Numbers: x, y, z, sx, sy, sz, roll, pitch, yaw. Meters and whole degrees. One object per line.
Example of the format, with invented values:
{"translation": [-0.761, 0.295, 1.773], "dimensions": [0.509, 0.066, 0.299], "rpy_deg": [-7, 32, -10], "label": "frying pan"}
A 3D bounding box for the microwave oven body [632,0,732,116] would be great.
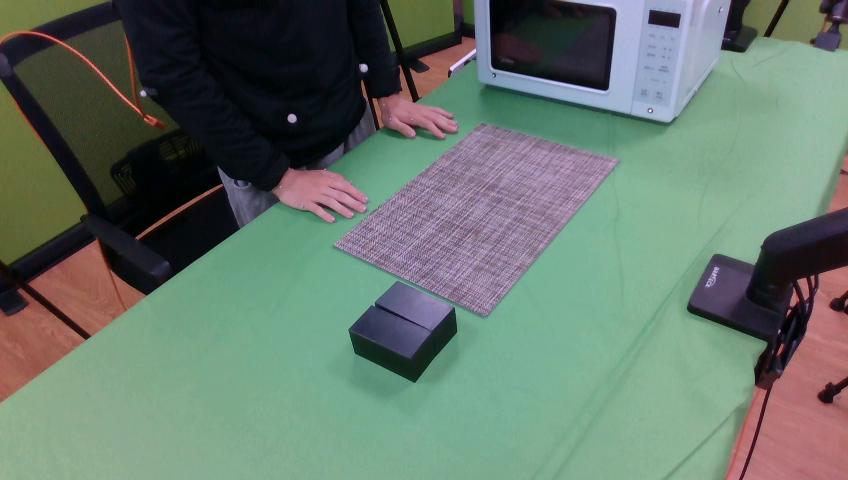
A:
{"translation": [0.377, -0.462, 1.267], "dimensions": [0.438, 0.261, 0.327], "rpy_deg": [21, 48, 30], "label": "microwave oven body"}

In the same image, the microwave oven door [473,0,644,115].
{"translation": [0.257, -0.396, 1.199], "dimensions": [0.353, 0.245, 0.039], "rpy_deg": [21, 48, 29], "label": "microwave oven door"}

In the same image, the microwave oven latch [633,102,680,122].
{"translation": [0.444, -0.249, 1.157], "dimensions": [0.078, 0.029, 0.030], "rpy_deg": [21, 49, 30], "label": "microwave oven latch"}
